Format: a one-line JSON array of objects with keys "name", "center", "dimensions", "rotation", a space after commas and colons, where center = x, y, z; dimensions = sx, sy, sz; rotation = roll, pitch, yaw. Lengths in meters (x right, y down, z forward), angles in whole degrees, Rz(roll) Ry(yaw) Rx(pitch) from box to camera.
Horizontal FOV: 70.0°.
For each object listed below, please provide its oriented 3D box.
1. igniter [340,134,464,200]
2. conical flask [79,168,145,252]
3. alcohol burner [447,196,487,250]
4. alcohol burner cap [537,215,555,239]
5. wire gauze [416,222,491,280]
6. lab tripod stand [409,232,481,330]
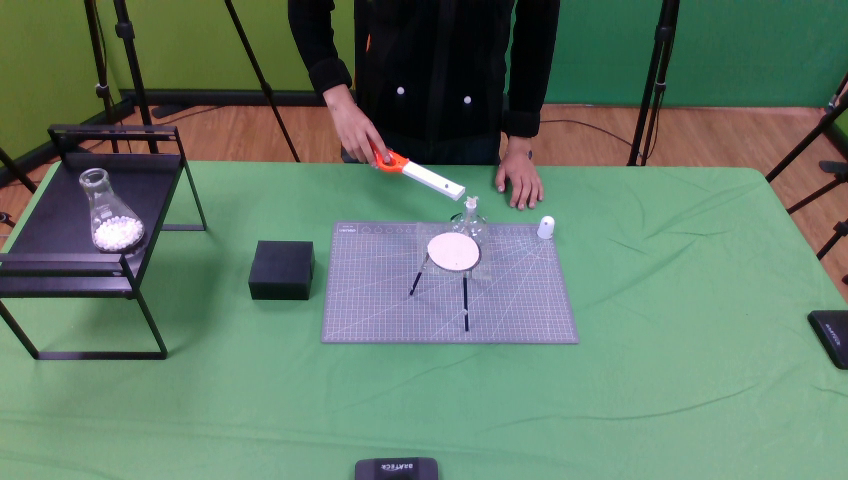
[{"name": "igniter", "center": [-0.047, -0.149, 1.196], "dimensions": [0.275, 0.025, 0.057], "rotation": [28, 53, 18]}, {"name": "conical flask", "center": [-0.463, -0.048, 0.888], "dimensions": [0.075, 0.122, 0.075], "rotation": [2, 46, -2]}, {"name": "alcohol burner", "center": [0.085, -0.039, 1.175], "dimensions": [0.078, 0.119, 0.077], "rotation": [3, 45, -3]}, {"name": "alcohol burner cap", "center": [0.249, -0.029, 1.228], "dimensions": [0.034, 0.048, 0.033], "rotation": [1, 48, -1]}, {"name": "wire gauze", "center": [0.048, 0.014, 1.013], "dimensions": [0.125, 0.011, 0.120], "rotation": [3, 47, -3]}, {"name": "lab tripod stand", "center": [0.051, 0.064, 1.059], "dimensions": [0.148, 0.132, 0.147], "rotation": [4, 47, -4]}]
